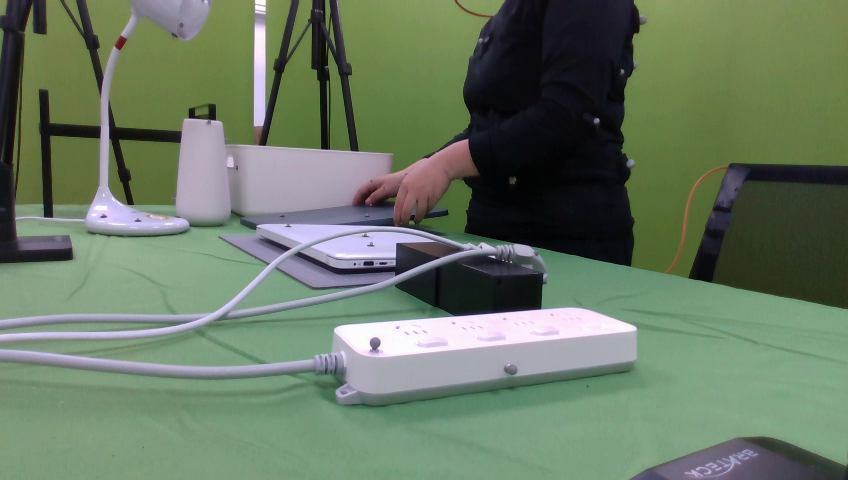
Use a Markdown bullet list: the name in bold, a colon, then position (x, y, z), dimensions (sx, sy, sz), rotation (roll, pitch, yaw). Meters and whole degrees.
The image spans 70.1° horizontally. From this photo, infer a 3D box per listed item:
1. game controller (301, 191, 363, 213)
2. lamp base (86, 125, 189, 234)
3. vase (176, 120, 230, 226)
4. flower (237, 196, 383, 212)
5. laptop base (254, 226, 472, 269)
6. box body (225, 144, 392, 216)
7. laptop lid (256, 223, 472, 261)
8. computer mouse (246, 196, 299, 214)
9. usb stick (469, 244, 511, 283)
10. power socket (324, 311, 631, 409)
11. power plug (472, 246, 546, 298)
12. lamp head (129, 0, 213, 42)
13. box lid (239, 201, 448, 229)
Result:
- **game controller**: position (-0.240, -0.098, 1.550), dimensions (0.155, 0.051, 0.097), rotation (3, 9, 5)
- **lamp base**: position (-0.497, -0.105, 1.027), dimensions (0.179, 0.180, 0.160), rotation (1, 7, 3)
- **vase**: position (-0.425, -0.128, 1.159), dimensions (0.098, 0.200, 0.098), rotation (2, 9, 0)
- **flower**: position (-0.282, -0.081, 1.492), dimensions (0.362, 0.038, 0.044), rotation (3, 34, 2)
- **laptop base**: position (-0.095, 0.011, 0.912), dimensions (0.237, 0.023, 0.352), rotation (3, 6, -32)
- **box body**: position (-0.289, -0.143, 1.475), dimensions (0.366, 0.160, 0.253), rotation (-1, 9, -29)
- **laptop lid**: position (-0.092, 0.000, 0.912), dimensions (0.243, 0.013, 0.355), rotation (1, 7, -30)
- **computer mouse**: position (-0.355, -0.083, 1.418), dimensions (0.117, 0.041, 0.063), rotation (0, 10, 7)
- **usb stick**: position (0.080, 0.029, 0.674), dimensions (0.059, 0.021, 0.027), rotation (28, 26, -29)
- **power socket**: position (0.042, 0.075, 0.410), dimensions (0.228, 0.032, 0.072), rotation (-1, 8, -25)
- **power plug**: position (0.081, 0.030, 0.584), dimensions (0.072, 0.052, 0.035), rotation (11, 28, 9)
- **lamp head**: position (-0.423, -0.394, 0.980), dimensions (0.123, 0.112, 0.112), rotation (20, 7, -3)
- **box lid**: position (-0.166, -0.048, 1.229), dimensions (0.373, 0.015, 0.262), rotation (-8, 11, -31)
